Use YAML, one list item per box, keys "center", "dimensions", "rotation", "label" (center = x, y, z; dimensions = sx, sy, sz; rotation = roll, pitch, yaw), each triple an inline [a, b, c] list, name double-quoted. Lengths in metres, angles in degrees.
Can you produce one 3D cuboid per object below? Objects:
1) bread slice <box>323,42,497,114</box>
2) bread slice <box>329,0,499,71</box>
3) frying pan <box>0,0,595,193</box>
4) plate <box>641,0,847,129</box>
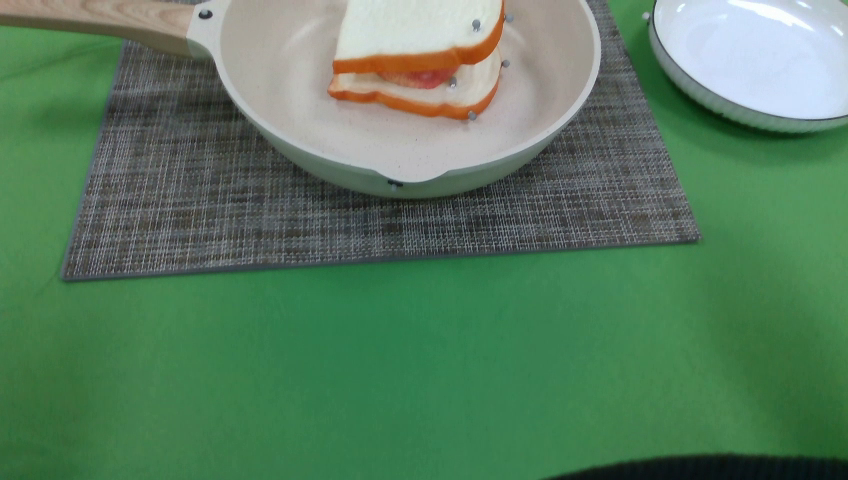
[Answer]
- center: [-0.006, -0.152, 0.516]
  dimensions: [0.134, 0.018, 0.106]
  rotation: [10, 58, 3]
  label: "bread slice"
- center: [-0.006, -0.181, 0.481]
  dimensions: [0.131, 0.019, 0.104]
  rotation: [1, 62, 12]
  label: "bread slice"
- center: [-0.118, -0.160, 0.469]
  dimensions: [0.489, 0.103, 0.304]
  rotation: [6, 55, -9]
  label: "frying pan"
- center: [0.296, -0.173, 0.545]
  dimensions: [0.208, 0.039, 0.205]
  rotation: [2, 57, -2]
  label: "plate"
